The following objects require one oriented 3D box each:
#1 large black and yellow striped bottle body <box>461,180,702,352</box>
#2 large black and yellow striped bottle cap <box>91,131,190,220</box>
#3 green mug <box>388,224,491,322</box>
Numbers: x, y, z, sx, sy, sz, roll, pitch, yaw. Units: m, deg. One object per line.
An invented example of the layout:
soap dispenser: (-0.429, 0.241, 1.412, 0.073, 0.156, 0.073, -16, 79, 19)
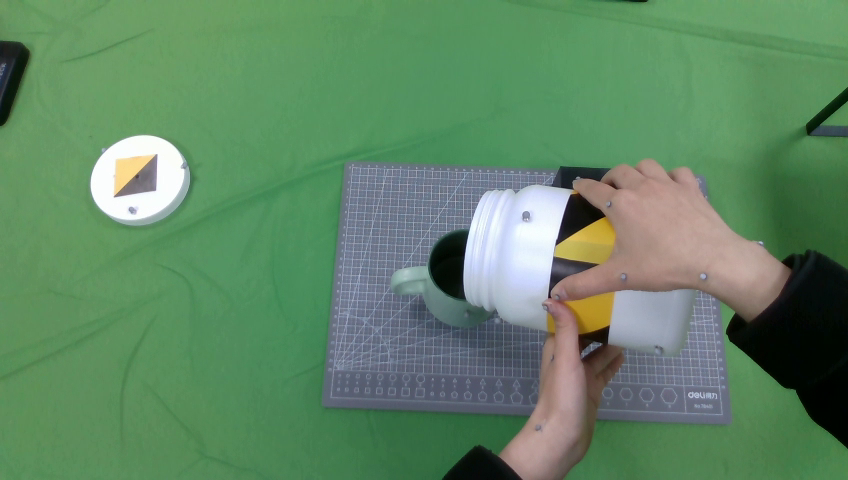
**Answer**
large black and yellow striped bottle body: (0.136, 0.018, 0.536, 0.183, 0.132, 0.130, 10, 71, 18)
large black and yellow striped bottle cap: (-0.347, -0.080, 0.741, 0.115, 0.019, 0.114, 0, 71, -1)
green mug: (0.023, 0.038, 0.658, 0.125, 0.105, 0.092, -5, 72, -2)
